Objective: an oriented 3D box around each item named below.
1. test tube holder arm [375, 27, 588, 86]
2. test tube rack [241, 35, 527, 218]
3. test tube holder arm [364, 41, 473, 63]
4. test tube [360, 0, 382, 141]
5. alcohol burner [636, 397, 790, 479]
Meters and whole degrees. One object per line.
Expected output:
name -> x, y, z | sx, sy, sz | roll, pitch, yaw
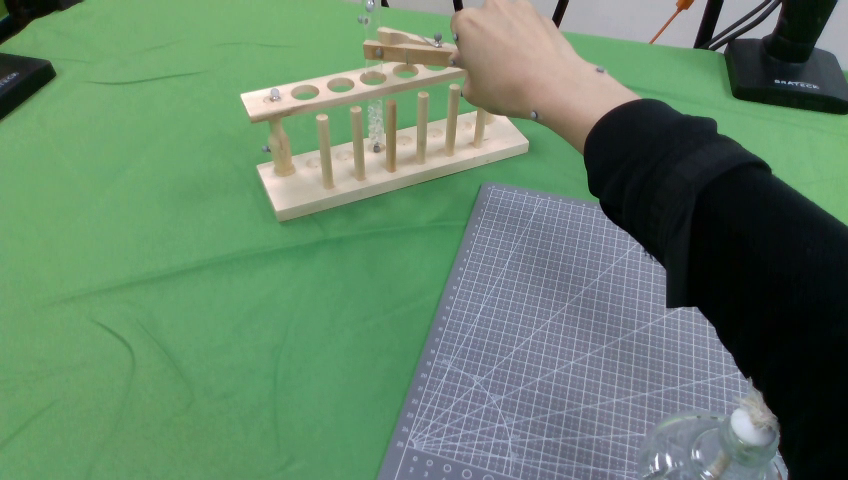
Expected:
test tube holder arm -> 0.038, -0.141, 0.460 | 0.177, 0.015, 0.013 | 19, 56, 24
test tube rack -> -0.025, -0.103, 0.530 | 0.243, 0.086, 0.066 | -18, 50, -18
test tube holder arm -> -0.004, -0.147, 0.473 | 0.087, 0.015, 0.010 | 5, 51, 15
test tube -> -0.043, -0.147, 0.503 | 0.017, 0.151, 0.017 | 2, 44, -1
alcohol burner -> 0.153, 0.112, 0.310 | 0.078, 0.120, 0.077 | 0, 48, 0
